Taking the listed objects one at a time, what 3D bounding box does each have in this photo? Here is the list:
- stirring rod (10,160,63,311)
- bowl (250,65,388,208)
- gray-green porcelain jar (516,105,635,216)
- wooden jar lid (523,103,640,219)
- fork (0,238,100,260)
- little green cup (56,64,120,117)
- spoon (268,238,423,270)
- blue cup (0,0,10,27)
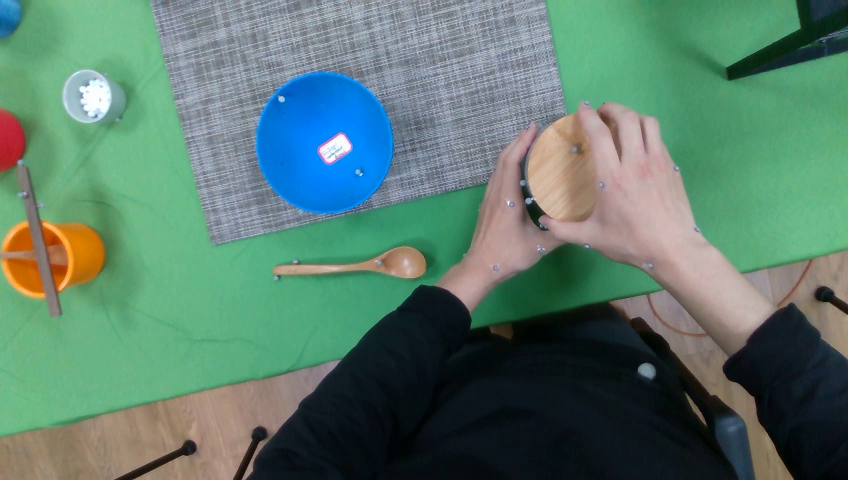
[{"bbox_3d":[-0.441,-0.004,0.691,0.014,0.006,0.176,-11,96,8],"label":"stirring rod"},{"bbox_3d":[-0.108,-0.113,0.680,0.151,0.077,0.151,1,97,6],"label":"bowl"},{"bbox_3d":[0.152,-0.085,0.637,0.106,0.126,0.106,1,100,3],"label":"gray-green porcelain jar"},{"bbox_3d":[0.148,-0.075,0.576,0.108,0.020,0.108,1,99,4],"label":"wooden jar lid"},{"bbox_3d":[-0.493,0.010,0.700,0.209,0.018,0.028,1,102,-38],"label":"fork"},{"bbox_3d":[-0.398,-0.176,0.723,0.061,0.038,0.061,1,98,6],"label":"little green cup"},{"bbox_3d":[-0.096,0.022,0.728,0.193,0.021,0.042,-5,115,6],"label":"spoon"},{"bbox_3d":[-0.538,-0.281,0.691,0.092,0.100,0.093,1,97,7],"label":"blue cup"}]
